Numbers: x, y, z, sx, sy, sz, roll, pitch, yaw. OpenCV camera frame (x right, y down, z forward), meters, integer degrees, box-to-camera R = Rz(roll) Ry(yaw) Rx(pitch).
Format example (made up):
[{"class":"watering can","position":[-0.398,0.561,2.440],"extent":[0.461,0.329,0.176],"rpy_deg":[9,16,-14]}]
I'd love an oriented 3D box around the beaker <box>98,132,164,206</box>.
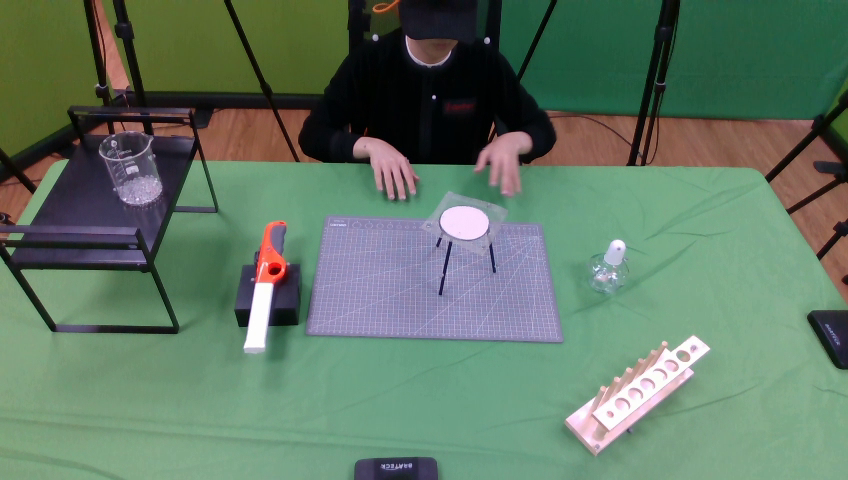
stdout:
[{"class":"beaker","position":[-0.460,-0.112,0.968],"extent":[0.073,0.101,0.084],"rpy_deg":[37,54,28]}]

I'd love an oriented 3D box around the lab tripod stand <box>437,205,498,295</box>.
[{"class":"lab tripod stand","position":[0.066,0.010,1.107],"extent":[0.148,0.132,0.147],"rpy_deg":[0,46,0]}]

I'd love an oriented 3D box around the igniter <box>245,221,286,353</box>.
[{"class":"igniter","position":[-0.270,0.070,1.040],"extent":[0.057,0.025,0.274],"rpy_deg":[2,48,-6]}]

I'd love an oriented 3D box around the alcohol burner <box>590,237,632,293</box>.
[{"class":"alcohol burner","position":[0.348,0.040,1.114],"extent":[0.078,0.119,0.077],"rpy_deg":[3,44,-2]}]

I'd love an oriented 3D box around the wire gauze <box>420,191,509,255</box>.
[{"class":"wire gauze","position":[0.072,-0.035,1.058],"extent":[0.125,0.011,0.121],"rpy_deg":[21,48,18]}]

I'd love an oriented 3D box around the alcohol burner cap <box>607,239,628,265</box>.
[{"class":"alcohol burner cap","position":[0.351,0.019,1.091],"extent":[0.034,0.048,0.033],"rpy_deg":[2,45,-1]}]

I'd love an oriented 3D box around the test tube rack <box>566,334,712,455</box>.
[{"class":"test tube rack","position":[0.339,0.228,0.951],"extent":[0.242,0.085,0.066],"rpy_deg":[-26,52,-26]}]
